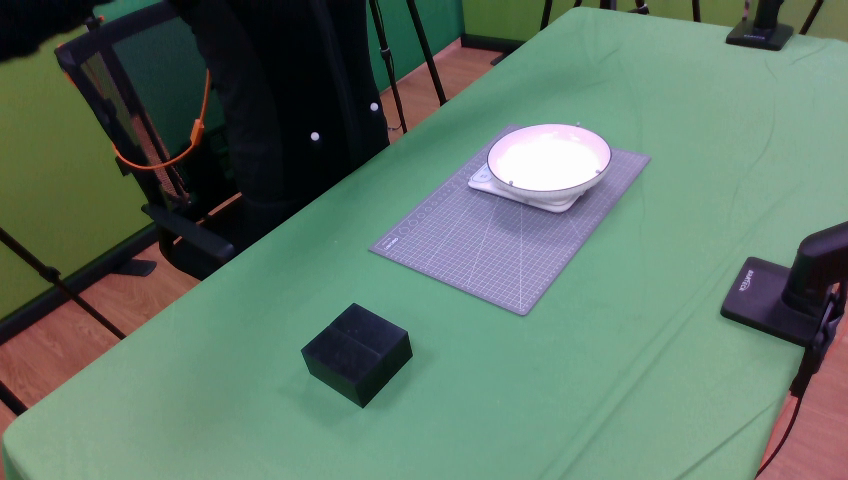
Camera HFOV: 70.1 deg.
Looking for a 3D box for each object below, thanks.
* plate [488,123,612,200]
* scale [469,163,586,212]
[{"bbox_3d":[0.213,-0.132,1.037,0.209,0.038,0.208,-6,41,5],"label":"plate"},{"bbox_3d":[0.194,-0.117,1.076,0.199,0.032,0.149,21,48,32],"label":"scale"}]
